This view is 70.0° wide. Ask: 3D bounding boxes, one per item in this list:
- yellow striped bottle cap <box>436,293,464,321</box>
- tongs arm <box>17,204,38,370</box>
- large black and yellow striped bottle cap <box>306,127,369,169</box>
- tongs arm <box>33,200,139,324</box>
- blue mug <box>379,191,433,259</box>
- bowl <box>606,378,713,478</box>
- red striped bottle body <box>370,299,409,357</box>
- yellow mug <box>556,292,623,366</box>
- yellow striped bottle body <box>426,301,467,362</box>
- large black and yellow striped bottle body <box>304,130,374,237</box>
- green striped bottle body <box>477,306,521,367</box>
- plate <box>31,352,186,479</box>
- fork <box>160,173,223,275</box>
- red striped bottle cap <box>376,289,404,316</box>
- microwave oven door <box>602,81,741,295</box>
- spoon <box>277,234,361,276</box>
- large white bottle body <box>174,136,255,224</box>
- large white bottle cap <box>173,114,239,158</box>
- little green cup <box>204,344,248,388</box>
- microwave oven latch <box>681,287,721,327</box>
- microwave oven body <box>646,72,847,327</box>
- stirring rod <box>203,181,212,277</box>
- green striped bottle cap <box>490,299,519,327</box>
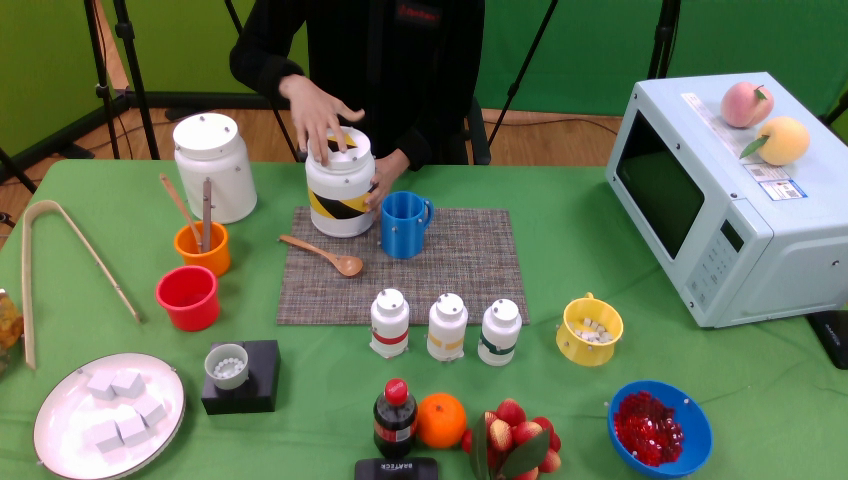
[{"bbox_3d":[0.041,0.106,0.959,0.044,0.019,0.044,-1,50,1],"label":"yellow striped bottle cap"},{"bbox_3d":[-0.698,0.070,1.068,0.028,0.028,0.385,-20,50,-13],"label":"tongs arm"},{"bbox_3d":[-0.159,-0.170,1.111,0.115,0.019,0.114,5,42,-4],"label":"large black and yellow striped bottle cap"},{"bbox_3d":[-0.622,0.034,1.105,0.051,0.026,0.382,-32,56,-26],"label":"tongs arm"},{"bbox_3d":[-0.031,-0.035,1.167,0.116,0.106,0.082,-26,54,-27],"label":"blue mug"},{"bbox_3d":[0.340,0.292,0.906,0.151,0.077,0.150,2,46,-2],"label":"bowl"},{"bbox_3d":[-0.057,0.135,0.997,0.063,0.120,0.062,2,47,-2],"label":"red striped bottle body"},{"bbox_3d":[0.285,0.145,1.051,0.100,0.064,0.130,8,45,3],"label":"yellow mug"},{"bbox_3d":[0.037,0.142,0.996,0.063,0.121,0.062,2,46,-2],"label":"yellow striped bottle body"},{"bbox_3d":[-0.163,-0.110,1.173,0.131,0.185,0.130,2,46,-2],"label":"large black and yellow striped bottle body"},{"bbox_3d":[0.124,0.151,0.995,0.063,0.120,0.063,2,46,-2],"label":"green striped bottle body"},{"bbox_3d":[-0.459,0.262,0.898,0.209,0.038,0.208,2,46,-2],"label":"plate"},{"bbox_3d":[-0.425,-0.030,1.103,0.028,0.018,0.207,-29,99,-19],"label":"fork"},{"bbox_3d":[-0.054,0.098,0.958,0.044,0.018,0.044,0,48,0],"label":"red striped bottle cap"},{"bbox_3d":[0.456,-0.107,1.162,0.039,0.245,0.353,-7,47,-11],"label":"microwave oven door"},{"bbox_3d":[-0.202,0.023,1.155,0.193,0.022,0.041,23,70,18],"label":"spoon"},{"bbox_3d":[-0.408,-0.137,1.183,0.131,0.185,0.130,2,46,-2],"label":"large white bottle body"},{"bbox_3d":[-0.403,-0.195,1.122,0.115,0.018,0.114,2,47,-2],"label":"large white bottle cap"},{"bbox_3d":[-0.294,0.191,0.909,0.061,0.039,0.061,1,48,-1],"label":"little green cup"},{"bbox_3d":[0.494,0.119,1.087,0.030,0.029,0.078,-6,46,-9],"label":"microwave oven latch"},{"bbox_3d":[0.607,-0.089,1.164,0.326,0.261,0.438,-7,46,-10],"label":"microwave oven body"},{"bbox_3d":[-0.396,-0.021,1.108,0.014,0.006,0.176,-1,89,-1],"label":"stirring rod"},{"bbox_3d":[0.127,0.115,0.958,0.044,0.020,0.044,2,47,-2],"label":"green striped bottle cap"}]
